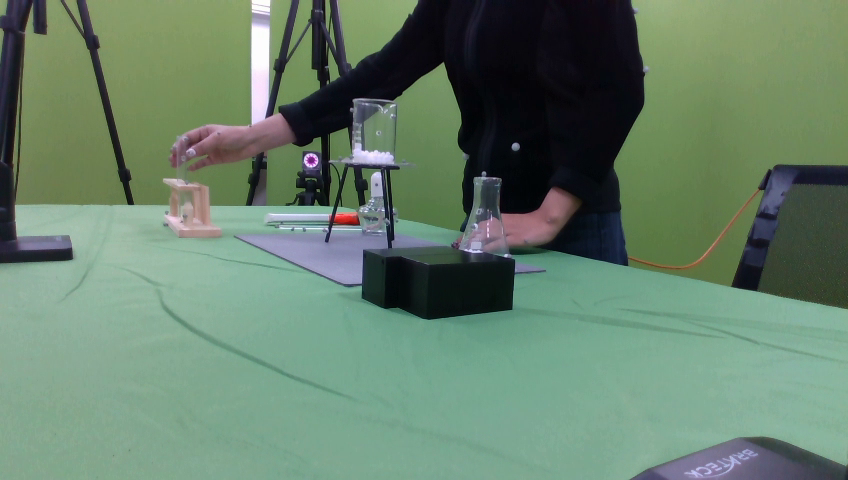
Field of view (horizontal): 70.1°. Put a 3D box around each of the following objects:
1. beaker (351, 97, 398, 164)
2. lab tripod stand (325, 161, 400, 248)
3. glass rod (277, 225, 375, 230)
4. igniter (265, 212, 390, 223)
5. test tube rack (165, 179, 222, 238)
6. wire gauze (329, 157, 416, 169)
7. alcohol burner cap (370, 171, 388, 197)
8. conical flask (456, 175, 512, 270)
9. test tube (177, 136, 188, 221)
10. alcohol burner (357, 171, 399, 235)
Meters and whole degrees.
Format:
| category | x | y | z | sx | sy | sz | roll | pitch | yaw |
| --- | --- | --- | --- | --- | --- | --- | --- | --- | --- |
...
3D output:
| category | x | y | z | sx | sy | sz | roll | pitch | yaw |
| --- | --- | --- | --- | --- | --- | --- | --- | --- | --- |
| beaker | -0.078 | -0.172 | 0.962 | 0.074 | 0.100 | 0.084 | 6 | 8 | 18 |
| lab tripod stand | -0.083 | -0.059 | 0.977 | 0.148 | 0.131 | 0.148 | 4 | 8 | 0 |
| glass rod | -0.186 | -0.024 | 1.178 | 0.201 | 0.008 | 0.008 | 1 | 7 | -31 |
| igniter | -0.196 | -0.048 | 1.285 | 0.278 | 0.025 | 0.057 | -2 | -2 | -30 |
| test tube rack | -0.423 | -0.062 | 1.098 | 0.067 | 0.085 | 0.241 | -2 | 9 | -28 |
| wire gauze | -0.079 | -0.125 | 0.972 | 0.121 | 0.011 | 0.125 | 6 | 6 | 5 |
| alcohol burner cap | -0.085 | -0.104 | 1.121 | 0.034 | 0.048 | 0.034 | -4 | 8 | 1 |
| conical flask | 0.082 | -0.025 | 0.801 | 0.075 | 0.122 | 0.075 | 2 | 7 | 0 |
| test tube | -0.426 | -0.108 | 1.069 | 0.017 | 0.150 | 0.017 | 3 | 10 | 0 |
| alcohol burner | -0.085 | -0.069 | 1.125 | 0.078 | 0.119 | 0.078 | 3 | 10 | 0 |
